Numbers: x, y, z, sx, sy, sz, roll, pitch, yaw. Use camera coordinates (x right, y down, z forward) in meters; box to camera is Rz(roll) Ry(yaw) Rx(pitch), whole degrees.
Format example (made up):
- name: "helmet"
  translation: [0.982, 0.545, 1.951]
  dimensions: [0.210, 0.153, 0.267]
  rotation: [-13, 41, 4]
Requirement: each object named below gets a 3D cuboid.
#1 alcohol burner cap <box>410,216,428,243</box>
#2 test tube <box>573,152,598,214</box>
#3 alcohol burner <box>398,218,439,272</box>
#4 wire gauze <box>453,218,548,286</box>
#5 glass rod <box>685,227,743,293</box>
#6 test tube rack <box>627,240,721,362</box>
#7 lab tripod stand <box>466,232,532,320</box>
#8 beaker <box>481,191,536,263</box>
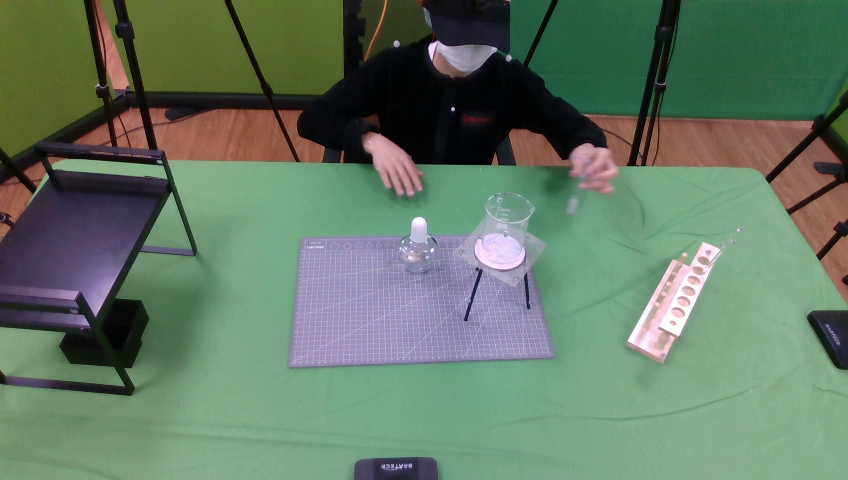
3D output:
- name: "alcohol burner cap"
  translation: [-0.009, -0.022, 1.099]
  dimensions: [0.034, 0.048, 0.033]
  rotation: [2, 41, -1]
- name: "test tube"
  translation: [0.283, -0.097, 1.069]
  dimensions: [0.017, 0.151, 0.017]
  rotation: [0, 52, 1]
- name: "alcohol burner"
  translation: [-0.010, 0.004, 1.123]
  dimensions: [0.078, 0.120, 0.077]
  rotation: [1, 47, 0]
- name: "wire gauze"
  translation: [0.129, 0.014, 1.018]
  dimensions: [0.124, 0.011, 0.121]
  rotation: [26, 47, 25]
- name: "glass rod"
  translation: [0.500, 0.039, 1.054]
  dimensions: [0.008, 0.200, 0.008]
  rotation: [4, 53, -5]
- name: "test tube rack"
  translation: [0.452, 0.098, 1.087]
  dimensions: [0.066, 0.085, 0.242]
  rotation: [28, 51, 22]
- name: "lab tripod stand"
  translation: [0.125, 0.059, 1.065]
  dimensions: [0.148, 0.132, 0.147]
  rotation: [1, 45, 0]
- name: "beaker"
  translation: [0.134, -0.019, 0.982]
  dimensions: [0.084, 0.101, 0.073]
  rotation: [-5, 46, -8]
